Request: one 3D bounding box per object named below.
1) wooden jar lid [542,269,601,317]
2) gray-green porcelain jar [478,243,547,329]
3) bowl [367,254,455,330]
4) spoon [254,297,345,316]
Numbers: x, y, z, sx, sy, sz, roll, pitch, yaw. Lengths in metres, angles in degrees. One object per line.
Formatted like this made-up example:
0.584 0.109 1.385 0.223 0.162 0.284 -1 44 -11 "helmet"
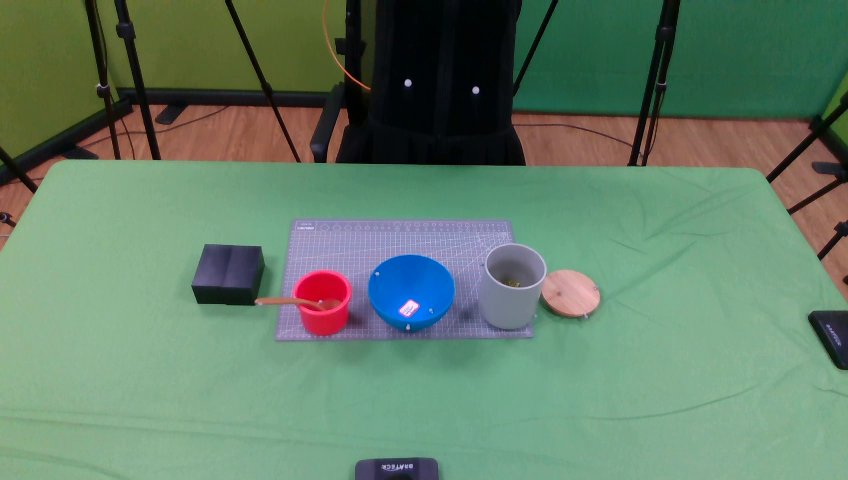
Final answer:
0.272 0.100 1.121 0.108 0.021 0.107 2 46 -2 "wooden jar lid"
0.150 0.085 1.049 0.106 0.127 0.105 2 46 -2 "gray-green porcelain jar"
-0.023 0.104 1.053 0.151 0.077 0.150 2 46 -2 "bowl"
-0.200 0.104 0.995 0.041 0.021 0.195 46 15 32 "spoon"
